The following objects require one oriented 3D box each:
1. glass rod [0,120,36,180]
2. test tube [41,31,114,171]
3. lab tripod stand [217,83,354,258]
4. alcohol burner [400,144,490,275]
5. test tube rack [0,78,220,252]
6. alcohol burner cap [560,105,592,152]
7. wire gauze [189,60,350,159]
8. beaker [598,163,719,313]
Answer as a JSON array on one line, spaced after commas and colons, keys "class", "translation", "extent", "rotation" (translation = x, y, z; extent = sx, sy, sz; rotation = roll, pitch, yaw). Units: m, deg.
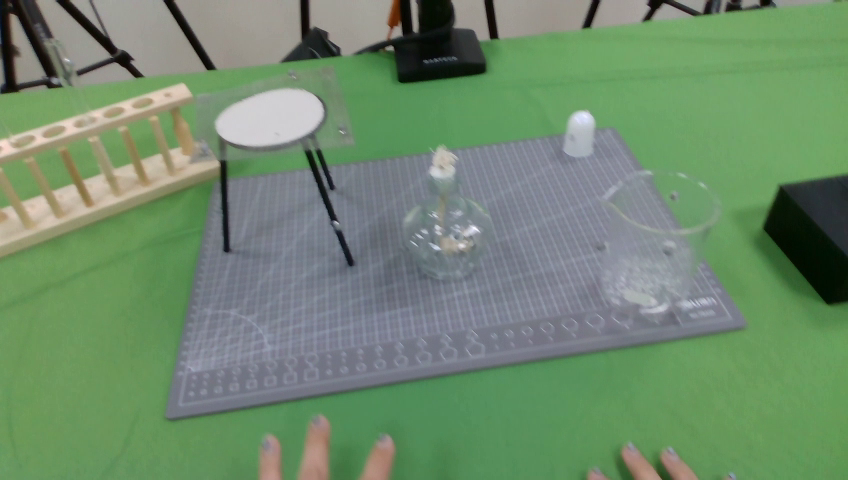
[{"class": "glass rod", "translation": [-0.402, -0.113, 0.567], "extent": [0.008, 0.202, 0.008], "rotation": [-4, 46, 4]}, {"class": "test tube", "translation": [-0.345, -0.134, 0.608], "extent": [0.017, 0.151, 0.017], "rotation": [-1, 40, 1]}, {"class": "lab tripod stand", "translation": [-0.125, -0.059, 0.542], "extent": [0.148, 0.133, 0.147], "rotation": [-3, 45, 3]}, {"class": "alcohol burner", "translation": [0.017, -0.028, 0.511], "extent": [0.078, 0.120, 0.077], "rotation": [-3, 42, 3]}, {"class": "test tube rack", "translation": [-0.346, -0.079, 0.623], "extent": [0.242, 0.086, 0.066], "rotation": [-25, 47, -20]}, {"class": "alcohol burner cap", "translation": [0.164, -0.122, 0.648], "extent": [0.034, 0.048, 0.033], "rotation": [-2, 43, 3]}, {"class": "wire gauze", "translation": [-0.130, -0.108, 0.496], "extent": [0.125, 0.011, 0.120], "rotation": [-13, 44, -7]}, {"class": "beaker", "translation": [0.175, 0.002, 0.475], "extent": [0.084, 0.101, 0.073], "rotation": [7, 44, 14]}]
